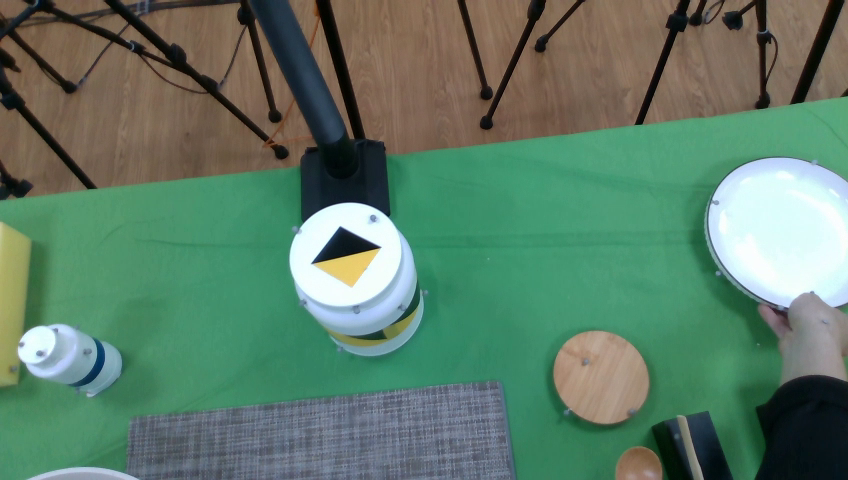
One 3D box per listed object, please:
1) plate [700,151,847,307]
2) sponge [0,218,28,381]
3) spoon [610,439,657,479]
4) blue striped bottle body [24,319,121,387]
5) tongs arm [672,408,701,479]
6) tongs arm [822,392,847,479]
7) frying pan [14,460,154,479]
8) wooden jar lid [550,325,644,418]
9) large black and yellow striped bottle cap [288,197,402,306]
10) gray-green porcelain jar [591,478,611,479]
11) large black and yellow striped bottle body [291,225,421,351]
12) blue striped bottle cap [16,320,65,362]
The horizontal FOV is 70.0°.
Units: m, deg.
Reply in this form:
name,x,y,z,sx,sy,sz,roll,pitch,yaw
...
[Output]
name,x,y,z,sx,sy,sz,roll,pitch,yaw
plate,0.449,-0.013,0.754,0.209,0.038,0.207,-2,67,4
sponge,-0.593,0.082,0.778,0.118,0.061,0.205,-11,68,-1
spoon,0.177,0.275,0.532,0.041,0.022,0.192,9,72,6
blue striped bottle body,-0.418,0.132,0.713,0.063,0.122,0.062,-1,67,4
tongs arm,0.317,0.353,0.583,0.051,0.026,0.382,-11,77,1
tongs arm,0.400,0.343,0.578,0.028,0.028,0.386,3,79,0
frying pan,-0.379,0.460,0.550,0.306,0.103,0.484,13,59,6
wooden jar lid,0.202,0.155,0.714,0.108,0.021,0.107,-1,68,3
large black and yellow striped bottle cap,-0.080,0.010,0.613,0.115,0.019,0.114,-1,69,4
gray-green porcelain jar,0.177,0.293,0.601,0.106,0.127,0.105,-1,67,4
large black and yellow striped bottle body,-0.075,0.044,0.691,0.131,0.185,0.130,-1,67,4
blue striped bottle cap,-0.422,0.111,0.666,0.044,0.021,0.044,-1,69,4
